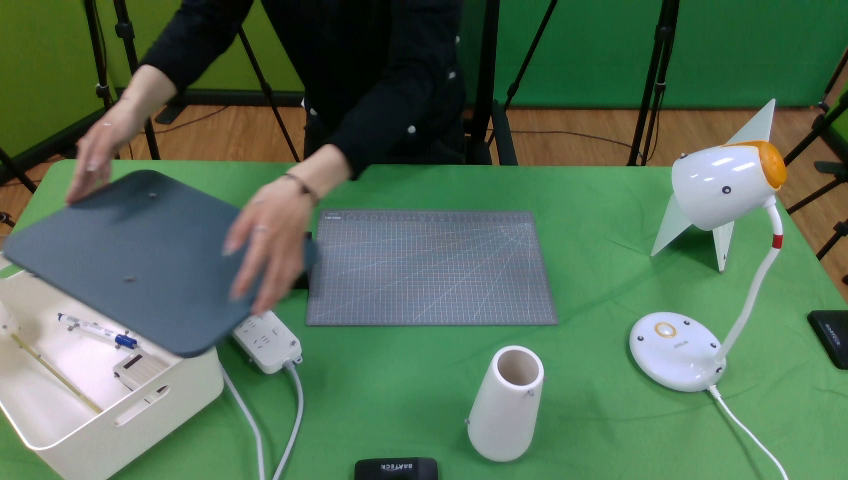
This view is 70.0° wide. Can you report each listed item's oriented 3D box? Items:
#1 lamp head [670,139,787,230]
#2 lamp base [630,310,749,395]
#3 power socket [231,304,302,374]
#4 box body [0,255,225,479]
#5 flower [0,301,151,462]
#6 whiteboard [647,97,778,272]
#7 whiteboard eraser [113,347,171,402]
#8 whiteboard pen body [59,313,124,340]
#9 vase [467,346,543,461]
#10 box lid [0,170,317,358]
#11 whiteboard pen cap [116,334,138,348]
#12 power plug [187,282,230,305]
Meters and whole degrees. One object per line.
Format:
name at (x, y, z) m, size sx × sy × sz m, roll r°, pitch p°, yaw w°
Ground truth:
lamp head at (0.415, -0.078, 0.812) m, size 0.113 × 0.123 × 0.112 m, roll 12°, pitch 70°, yaw -37°
lamp base at (0.447, 0.142, 0.984) m, size 0.161 × 0.181 × 0.178 m, roll -24°, pitch 55°, yaw -24°
power socket at (-0.296, 0.140, 1.035) m, size 0.072 × 0.033 × 0.225 m, roll -33°, pitch 57°, yaw -29°
box body at (-0.506, 0.155, 0.916) m, size 0.362 × 0.161 × 0.254 m, roll 35°, pitch 54°, yaw 26°
flower at (-0.552, 0.221, 0.938) m, size 0.361 × 0.038 × 0.044 m, roll 39°, pitch 63°, yaw 9°
whiteboard at (0.602, -0.079, 1.162) m, size 0.144 × 0.306 × 0.216 m, roll 35°, pitch 51°, yaw 2°
whiteboard eraser at (-0.420, 0.214, 0.937) m, size 0.112 × 0.042 × 0.055 m, roll 25°, pitch 49°, yaw 21°
whiteboard pen body at (-0.544, 0.148, 1.008) m, size 0.140 × 0.017 × 0.017 m, roll 16°, pitch 47°, yaw 9°
vase at (0.116, 0.235, 0.861) m, size 0.098 × 0.201 × 0.097 m, roll 1°, pitch 47°, yaw -1°
box lid at (-0.369, 0.013, 0.857) m, size 0.370 × 0.015 × 0.263 m, roll 23°, pitch 40°, yaw 18°
whiteboard pen cap at (-0.490, 0.165, 0.996) m, size 0.033 × 0.018 × 0.018 m, roll 17°, pitch 47°, yaw 9°
power plug at (-0.369, 0.096, 1.039) m, size 0.072 × 0.053 × 0.035 m, roll -23°, pitch 54°, yaw -19°
